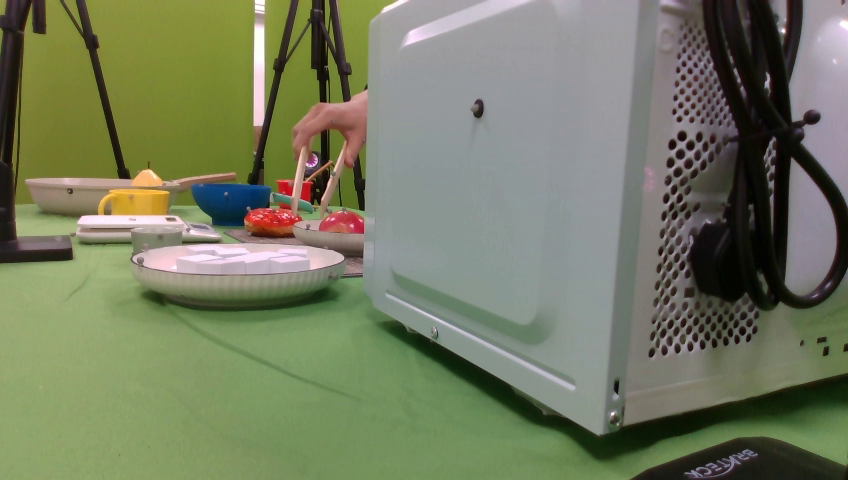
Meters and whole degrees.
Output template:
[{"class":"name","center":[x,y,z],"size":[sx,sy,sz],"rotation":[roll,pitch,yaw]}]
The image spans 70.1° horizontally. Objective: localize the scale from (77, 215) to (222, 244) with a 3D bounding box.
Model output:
[{"class":"scale","center":[-0.434,-0.019,0.963],"size":[0.202,0.031,0.148],"rotation":[-1,9,-27]}]

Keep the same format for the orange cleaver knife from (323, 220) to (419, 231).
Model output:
[{"class":"orange cleaver knife","center":[-0.097,-0.027,1.152],"size":[0.077,0.012,0.212],"rotation":[2,7,41]}]

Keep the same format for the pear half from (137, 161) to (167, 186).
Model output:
[{"class":"pear half","center":[-0.602,-0.120,1.354],"size":[0.056,0.110,0.076],"rotation":[4,11,6]}]

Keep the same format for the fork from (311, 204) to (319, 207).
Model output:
[{"class":"fork","center":[-0.356,-0.105,1.526],"size":[0.208,0.018,0.028],"rotation":[16,-6,-41]}]

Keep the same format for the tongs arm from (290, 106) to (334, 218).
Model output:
[{"class":"tongs arm","center":[-0.156,-0.125,0.854],"size":[0.028,0.028,0.386],"rotation":[-4,28,-1]}]

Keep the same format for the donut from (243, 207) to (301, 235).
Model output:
[{"class":"donut","center":[-0.262,-0.032,1.043],"size":[0.099,0.048,0.099],"rotation":[4,9,0]}]

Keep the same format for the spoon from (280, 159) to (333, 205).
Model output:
[{"class":"spoon","center":[-0.317,-0.159,1.640],"size":[0.194,0.022,0.041],"rotation":[-49,32,-20]}]

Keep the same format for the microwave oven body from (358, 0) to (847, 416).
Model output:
[{"class":"microwave oven body","center":[0.211,-0.047,0.475],"size":[0.444,0.260,0.324],"rotation":[-1,7,-28]}]

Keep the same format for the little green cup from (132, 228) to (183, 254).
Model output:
[{"class":"little green cup","center":[-0.342,0.006,0.779],"size":[0.061,0.038,0.061],"rotation":[2,8,0]}]

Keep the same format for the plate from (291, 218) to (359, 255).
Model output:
[{"class":"plate","center":[-0.098,-0.007,0.928],"size":[0.209,0.038,0.209],"rotation":[2,8,0]}]

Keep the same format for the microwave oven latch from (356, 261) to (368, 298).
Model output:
[{"class":"microwave oven latch","center":[-0.019,0.033,0.530],"size":[0.079,0.029,0.030],"rotation":[-1,7,-26]}]

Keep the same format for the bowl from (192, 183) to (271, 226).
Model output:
[{"class":"bowl","center":[-0.382,-0.071,1.202],"size":[0.151,0.077,0.151],"rotation":[3,7,0]}]

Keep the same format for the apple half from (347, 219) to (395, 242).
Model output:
[{"class":"apple half","center":[-0.084,-0.018,0.967],"size":[0.081,0.033,0.081],"rotation":[5,9,0]}]

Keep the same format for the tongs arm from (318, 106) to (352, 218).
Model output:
[{"class":"tongs arm","center":[-0.134,-0.125,0.856],"size":[0.051,0.026,0.384],"rotation":[2,28,1]}]

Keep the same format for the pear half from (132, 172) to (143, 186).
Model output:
[{"class":"pear half","center":[-0.638,-0.113,1.361],"size":[0.031,0.088,0.070],"rotation":[5,10,4]}]

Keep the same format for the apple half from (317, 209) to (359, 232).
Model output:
[{"class":"apple half","center":[-0.122,-0.020,0.900],"size":[0.080,0.053,0.075],"rotation":[4,11,15]}]

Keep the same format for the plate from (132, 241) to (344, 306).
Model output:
[{"class":"plate","center":[-0.187,0.033,0.625],"size":[0.208,0.039,0.207],"rotation":[2,8,0]}]

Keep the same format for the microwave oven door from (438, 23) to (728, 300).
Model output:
[{"class":"microwave oven door","center":[0.181,-0.073,0.621],"size":[0.358,0.243,0.039],"rotation":[-2,8,-29]}]

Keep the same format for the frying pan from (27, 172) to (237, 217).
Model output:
[{"class":"frying pan","center":[-0.624,-0.118,1.387],"size":[0.305,0.102,0.490],"rotation":[8,17,32]}]

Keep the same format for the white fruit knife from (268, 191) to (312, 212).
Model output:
[{"class":"white fruit knife","center":[-0.364,-0.105,1.464],"size":[0.208,0.027,0.016],"rotation":[15,0,-34]}]

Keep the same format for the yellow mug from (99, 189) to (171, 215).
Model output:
[{"class":"yellow mug","center":[-0.519,-0.055,1.080],"size":[0.099,0.064,0.131],"rotation":[7,9,26]}]
